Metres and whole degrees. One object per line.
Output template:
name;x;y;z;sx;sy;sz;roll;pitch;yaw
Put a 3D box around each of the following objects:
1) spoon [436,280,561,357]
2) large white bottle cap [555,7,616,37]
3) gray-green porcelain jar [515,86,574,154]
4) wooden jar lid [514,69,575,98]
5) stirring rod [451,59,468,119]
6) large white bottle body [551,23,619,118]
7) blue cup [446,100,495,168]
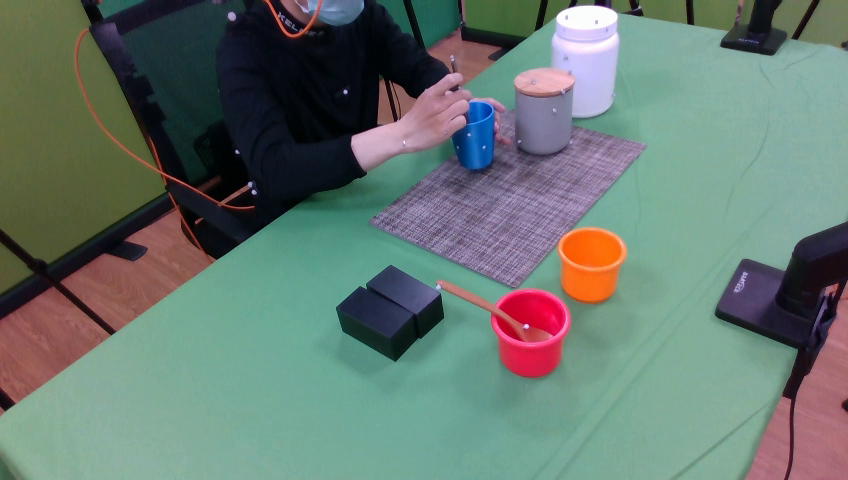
spoon;0.096;0.095;0.757;0.195;0.021;0.041;33;42;-20
large white bottle cap;0.311;-0.420;1.163;0.115;0.018;0.114;-4;40;4
gray-green porcelain jar;0.223;-0.232;1.129;0.106;0.127;0.105;-4;40;4
wooden jar lid;0.216;-0.279;1.088;0.108;0.021;0.108;-3;38;3
stirring rod;0.068;-0.225;1.027;0.006;0.177;0.014;-5;41;16
large white bottle body;0.321;-0.356;1.218;0.130;0.185;0.130;-4;41;4
blue cup;0.089;-0.186;1.083;0.092;0.101;0.092;-7;40;6
